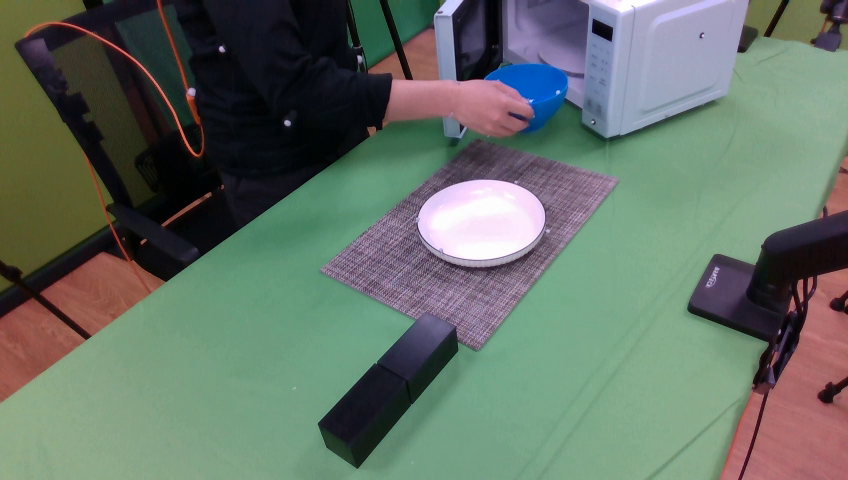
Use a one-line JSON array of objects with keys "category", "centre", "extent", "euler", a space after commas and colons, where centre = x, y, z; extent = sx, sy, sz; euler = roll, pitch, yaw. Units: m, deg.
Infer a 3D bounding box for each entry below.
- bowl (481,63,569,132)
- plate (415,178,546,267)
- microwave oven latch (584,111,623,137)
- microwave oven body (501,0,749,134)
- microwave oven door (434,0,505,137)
[{"category": "bowl", "centre": [0.178, -0.243, 1.067], "extent": [0.151, 0.077, 0.150], "euler": [-5, 41, 5]}, {"category": "plate", "centre": [0.091, -0.026, 0.970], "extent": [0.207, 0.039, 0.206], "euler": [-4, 41, 4]}, {"category": "microwave oven latch", "centre": [0.337, -0.222, 1.142], "extent": [0.030, 0.029, 0.078], "euler": [-21, 42, -14]}, {"category": "microwave oven body", "centre": [0.382, -0.444, 1.246], "extent": [0.327, 0.261, 0.437], "euler": [-22, 42, -16]}, {"category": "microwave oven door", "centre": [0.102, -0.407, 1.233], "extent": [0.039, 0.245, 0.355], "euler": [8, 44, 19]}]
